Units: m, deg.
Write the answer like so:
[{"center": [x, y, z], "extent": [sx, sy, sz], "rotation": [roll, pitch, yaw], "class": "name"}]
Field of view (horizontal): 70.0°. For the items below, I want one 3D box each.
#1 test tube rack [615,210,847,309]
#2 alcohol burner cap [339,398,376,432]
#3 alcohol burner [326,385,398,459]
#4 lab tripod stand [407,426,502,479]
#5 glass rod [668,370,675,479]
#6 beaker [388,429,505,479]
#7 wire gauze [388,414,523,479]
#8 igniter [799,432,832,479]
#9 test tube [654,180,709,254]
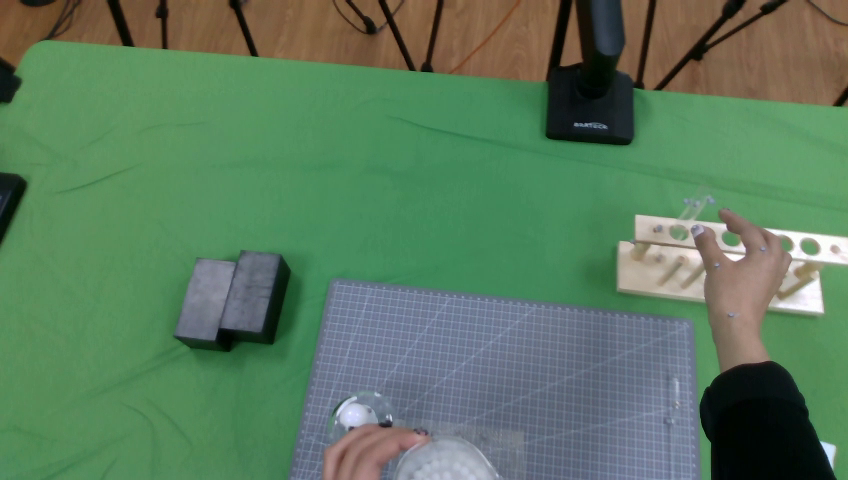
[{"center": [0.362, 0.025, 0.724], "extent": [0.242, 0.086, 0.066], "rotation": [6, 66, 5], "class": "test tube rack"}, {"center": [-0.069, 0.175, 0.610], "extent": [0.034, 0.048, 0.033], "rotation": [-3, 69, 7], "class": "alcohol burner cap"}, {"center": [-0.068, 0.189, 0.644], "extent": [0.078, 0.120, 0.077], "rotation": [-1, 64, 2], "class": "alcohol burner"}, {"center": [0.029, 0.252, 0.603], "extent": [0.148, 0.132, 0.147], "rotation": [-1, 64, 3], "class": "lab tripod stand"}, {"center": [0.273, 0.243, 0.668], "extent": [0.008, 0.008, 0.198], "rotation": [8, 69, 5], "class": "glass rod"}, {"center": [0.017, 0.194, 0.473], "extent": [0.084, 0.101, 0.073], "rotation": [-3, 63, -1], "class": "beaker"}, {"center": [0.026, 0.221, 0.542], "extent": [0.125, 0.011, 0.120], "rotation": [3, 65, 3], "class": "wire gauze"}, {"center": [0.396, 0.337, 0.616], "extent": [0.057, 0.025, 0.275], "rotation": [17, 67, -2], "class": "igniter"}, {"center": [0.291, -0.022, 0.693], "extent": [0.017, 0.151, 0.017], "rotation": [-1, 62, 2], "class": "test tube"}]
